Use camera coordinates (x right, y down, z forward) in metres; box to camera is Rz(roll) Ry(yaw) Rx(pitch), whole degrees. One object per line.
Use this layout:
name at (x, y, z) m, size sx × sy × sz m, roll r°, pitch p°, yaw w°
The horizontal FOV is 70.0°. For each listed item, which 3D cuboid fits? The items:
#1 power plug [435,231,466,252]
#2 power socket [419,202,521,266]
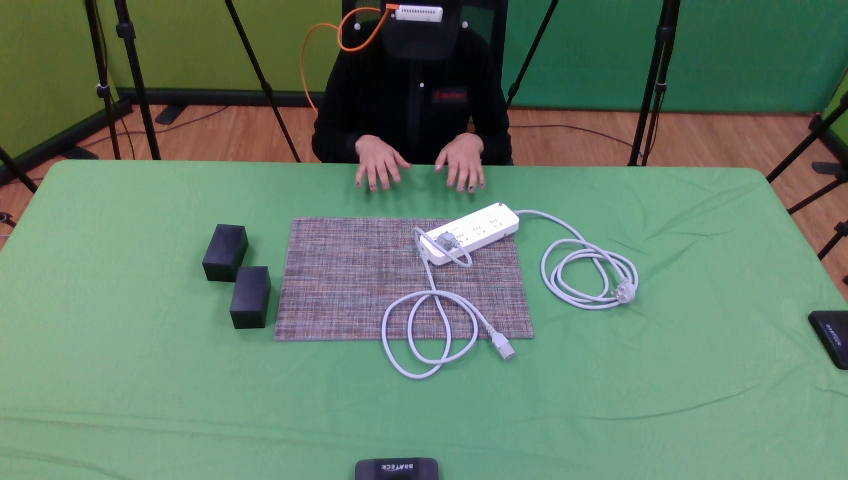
power plug at (0.047, 0.015, 1.141) m, size 0.035 × 0.053 × 0.072 m, roll -14°, pitch 47°, yaw -17°
power socket at (0.093, -0.014, 1.204) m, size 0.227 × 0.033 × 0.072 m, roll -23°, pitch 52°, yaw -24°
